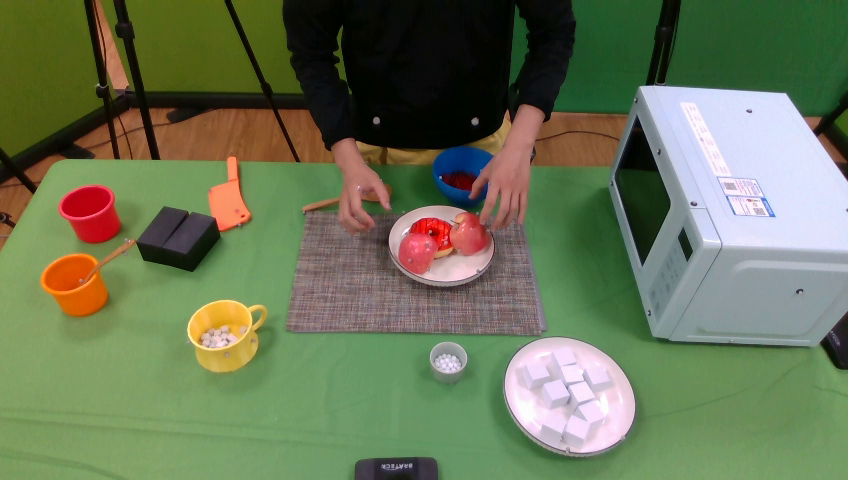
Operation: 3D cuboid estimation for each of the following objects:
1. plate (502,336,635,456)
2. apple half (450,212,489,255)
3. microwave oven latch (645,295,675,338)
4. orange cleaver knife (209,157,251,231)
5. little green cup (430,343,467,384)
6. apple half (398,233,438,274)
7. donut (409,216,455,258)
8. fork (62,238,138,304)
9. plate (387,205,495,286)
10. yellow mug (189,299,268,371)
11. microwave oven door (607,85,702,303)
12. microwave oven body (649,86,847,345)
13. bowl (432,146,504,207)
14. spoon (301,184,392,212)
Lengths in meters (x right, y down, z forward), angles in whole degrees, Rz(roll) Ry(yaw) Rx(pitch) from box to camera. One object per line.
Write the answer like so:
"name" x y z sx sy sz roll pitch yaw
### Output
"plate" 0.225 0.248 0.964 0.208 0.039 0.206 2 46 -2
"apple half" 0.094 -0.015 1.159 0.053 0.075 0.080 -19 33 40
"microwave oven latch" 0.412 0.134 1.061 0.030 0.029 0.078 3 45 0
"orange cleaver knife" -0.409 -0.099 1.266 0.077 0.012 0.210 -14 50 -10
"little green cup" 0.039 0.203 0.993 0.061 0.039 0.061 2 46 -2
"apple half" -0.016 0.022 1.123 0.081 0.033 0.081 -2 83 14
"donut" 0.020 -0.007 1.174 0.099 0.048 0.098 1 46 -1
"fork" -0.547 0.053 1.018 0.207 0.019 0.028 -36 41 23
"plate" 0.033 0.014 1.171 0.209 0.038 0.208 2 46 -2
"yellow mug" -0.316 0.148 1.002 0.131 0.064 0.099 -33 56 -31
"microwave oven door" 0.423 -0.094 1.140 0.039 0.245 0.353 2 46 -1
"microwave oven body" 0.568 -0.053 1.118 0.326 0.261 0.439 2 45 -1
"bowl" 0.091 -0.124 1.286 0.151 0.077 0.150 2 46 -2
"spoon" -0.162 -0.087 1.270 0.194 0.022 0.041 -11 63 -15
